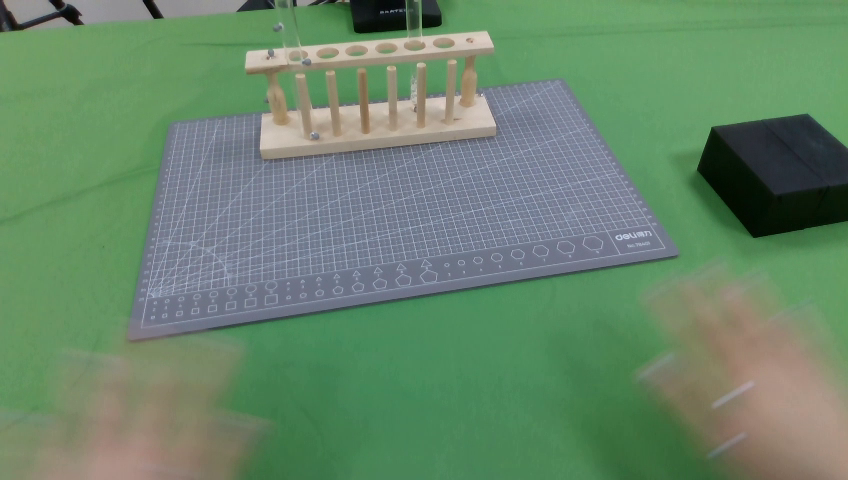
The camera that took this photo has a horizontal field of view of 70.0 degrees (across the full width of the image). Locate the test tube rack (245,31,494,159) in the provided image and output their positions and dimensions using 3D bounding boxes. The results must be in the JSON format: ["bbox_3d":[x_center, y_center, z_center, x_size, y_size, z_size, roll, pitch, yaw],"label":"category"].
[{"bbox_3d":[-0.051,-0.149,0.619,0.243,0.086,0.066,-7,46,-6],"label":"test tube rack"}]

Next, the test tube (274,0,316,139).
[{"bbox_3d":[-0.120,-0.160,0.568,0.017,0.152,0.017,-1,45,1],"label":"test tube"}]

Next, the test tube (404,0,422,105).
[{"bbox_3d":[-0.011,-0.204,0.602,0.017,0.151,0.017,-1,41,1],"label":"test tube"}]
